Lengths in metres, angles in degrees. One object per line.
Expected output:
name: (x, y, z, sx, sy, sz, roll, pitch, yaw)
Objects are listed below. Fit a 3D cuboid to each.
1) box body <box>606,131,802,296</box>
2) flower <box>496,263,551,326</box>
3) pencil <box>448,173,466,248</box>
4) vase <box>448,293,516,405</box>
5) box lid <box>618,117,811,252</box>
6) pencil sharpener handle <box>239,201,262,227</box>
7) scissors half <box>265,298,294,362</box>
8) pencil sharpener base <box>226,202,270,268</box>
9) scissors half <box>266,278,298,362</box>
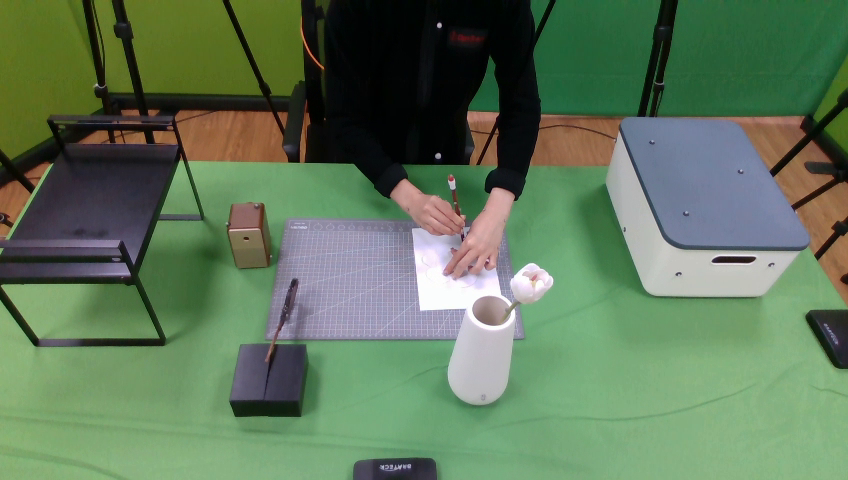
box body: (0.530, -0.067, 1.204, 0.254, 0.161, 0.361, 0, 46, -4)
flower: (0.102, 0.120, 0.853, 0.044, 0.363, 0.038, -1, 64, -10)
pencil: (0.064, -0.049, 1.126, 0.012, 0.195, 0.012, -7, 46, 8)
vase: (0.091, 0.169, 0.921, 0.098, 0.201, 0.097, 3, 47, -3)
box lid: (0.534, -0.117, 1.148, 0.263, 0.015, 0.369, 0, 47, -3)
pencil sharpener handle: (-0.325, -0.056, 1.150, 0.036, 0.068, 0.030, -13, 46, 4)
scissors half: (-0.239, 0.143, 1.005, 0.013, 0.040, 0.174, 17, 28, -6)
pencil sharpener base: (-0.323, -0.010, 1.123, 0.061, 0.107, 0.076, -3, 46, -7)
scissors half: (-0.234, 0.127, 0.993, 0.013, 0.040, 0.174, 12, 46, -4)
